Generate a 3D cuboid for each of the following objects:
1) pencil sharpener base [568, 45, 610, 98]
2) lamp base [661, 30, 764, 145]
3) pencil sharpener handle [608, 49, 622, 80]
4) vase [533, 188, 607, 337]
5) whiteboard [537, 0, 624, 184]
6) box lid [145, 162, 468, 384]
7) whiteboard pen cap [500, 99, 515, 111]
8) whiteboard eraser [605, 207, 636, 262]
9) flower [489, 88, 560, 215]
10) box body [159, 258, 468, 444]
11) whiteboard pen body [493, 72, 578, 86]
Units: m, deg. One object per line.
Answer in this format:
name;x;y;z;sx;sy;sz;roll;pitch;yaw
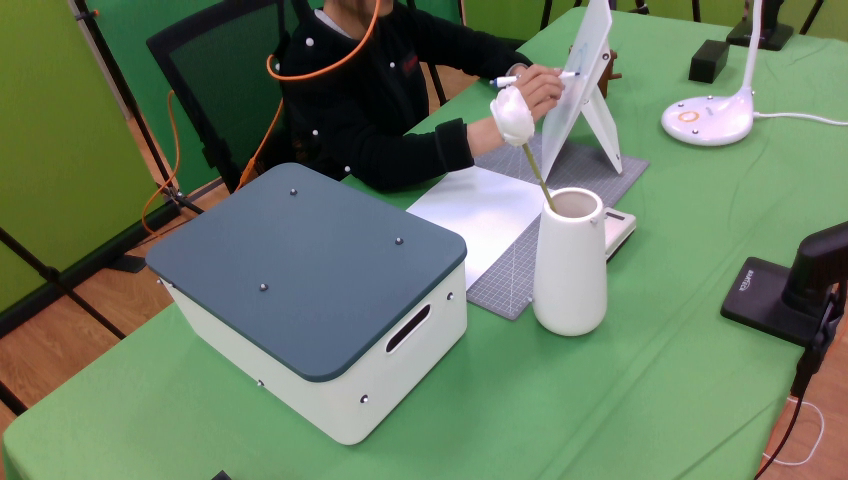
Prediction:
pencil sharpener base;0.345;-0.352;1.263;0.077;0.107;0.061;-9;40;1
lamp base;0.535;-0.287;1.096;0.179;0.181;0.159;-10;40;-4
pencil sharpener handle;0.394;-0.368;1.253;0.030;0.068;0.036;-9;31;1
vase;0.187;0.033;0.771;0.098;0.201;0.097;-6;41;6
whiteboard;0.316;-0.256;1.047;0.144;0.306;0.216;15;42;-1
box lid;-0.157;0.014;0.769;0.368;0.015;0.264;25;51;33
whiteboard pen cap;0.177;-0.287;1.289;0.033;0.018;0.018;-38;48;-26
whiteboard eraser;0.273;-0.003;0.919;0.055;0.042;0.113;27;51;33
flower;0.158;-0.028;0.720;0.038;0.364;0.044;-14;44;23
box body;-0.147;0.072;0.816;0.361;0.161;0.255;24;50;33
whiteboard pen body;0.185;-0.267;1.000;0.140;0.017;0.017;-1;41;15
